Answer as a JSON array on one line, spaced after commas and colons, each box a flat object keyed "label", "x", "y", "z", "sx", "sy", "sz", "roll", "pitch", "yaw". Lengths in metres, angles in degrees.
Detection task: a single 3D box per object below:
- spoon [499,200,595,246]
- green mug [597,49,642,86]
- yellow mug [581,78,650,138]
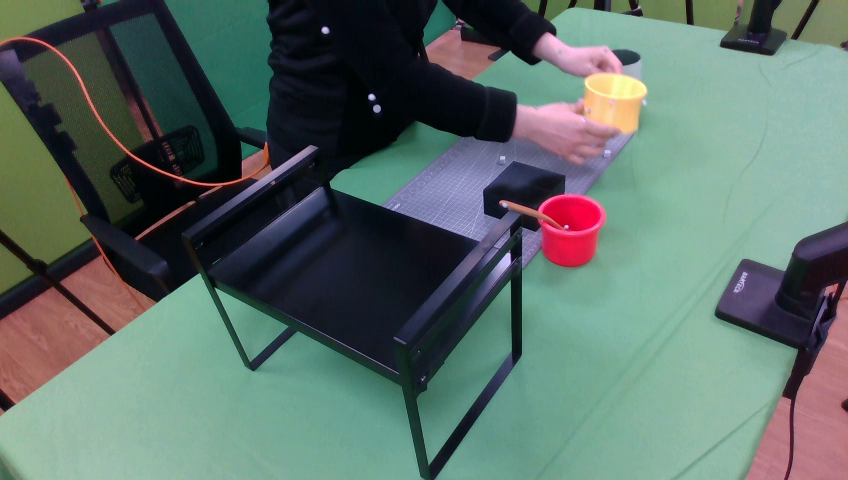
[{"label": "spoon", "x": 0.183, "y": -0.028, "z": 0.888, "sx": 0.195, "sy": 0.021, "sz": 0.041, "roll": 23, "pitch": 23, "yaw": -33}, {"label": "green mug", "x": 0.397, "y": -0.333, "z": 1.240, "sx": 0.092, "sy": 0.105, "sz": 0.125, "roll": -2, "pitch": 41, "yaw": 7}, {"label": "yellow mug", "x": 0.323, "y": -0.231, "z": 1.026, "sx": 0.100, "sy": 0.064, "sz": 0.130, "roll": 9, "pitch": 36, "yaw": 6}]
